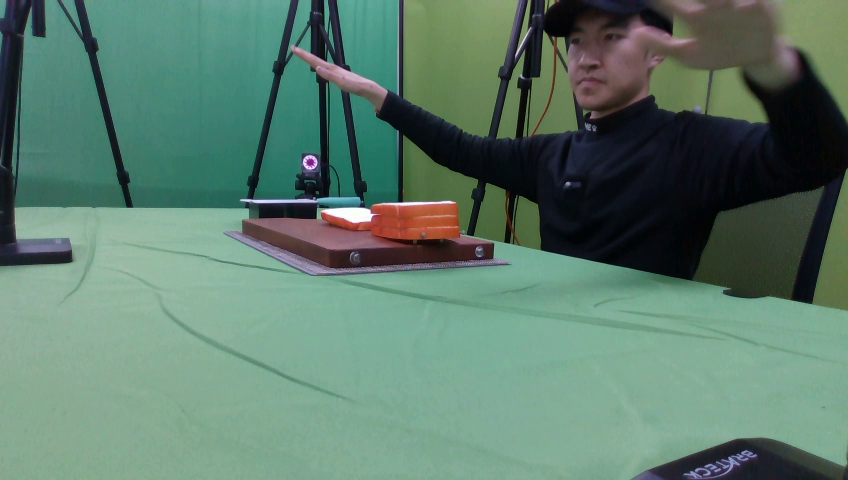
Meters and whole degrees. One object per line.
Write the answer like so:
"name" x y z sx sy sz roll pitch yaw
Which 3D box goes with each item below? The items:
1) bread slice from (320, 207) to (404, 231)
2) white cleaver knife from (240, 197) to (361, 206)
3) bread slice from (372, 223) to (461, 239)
"bread slice" -0.114 -0.037 1.042 0.105 0.019 0.131 -6 16 -41
"white cleaver knife" -0.254 -0.086 1.296 0.065 0.021 0.288 9 8 43
"bread slice" -0.009 -0.013 0.888 0.107 0.018 0.134 -3 5 -21
